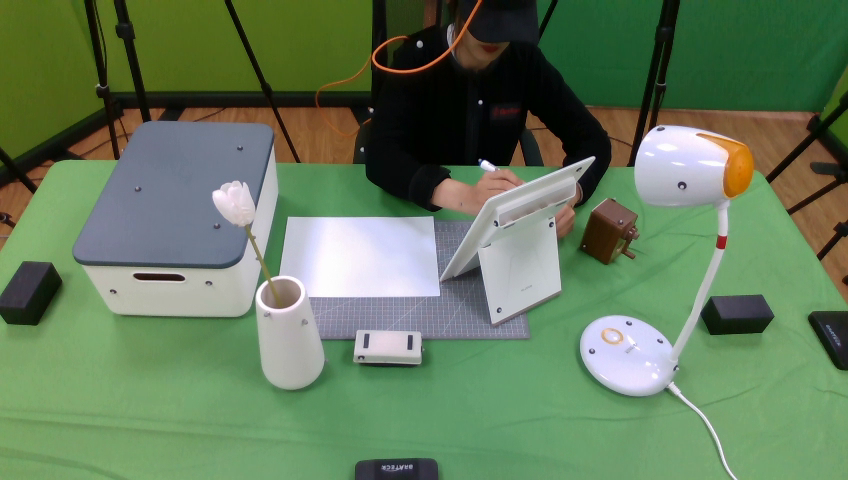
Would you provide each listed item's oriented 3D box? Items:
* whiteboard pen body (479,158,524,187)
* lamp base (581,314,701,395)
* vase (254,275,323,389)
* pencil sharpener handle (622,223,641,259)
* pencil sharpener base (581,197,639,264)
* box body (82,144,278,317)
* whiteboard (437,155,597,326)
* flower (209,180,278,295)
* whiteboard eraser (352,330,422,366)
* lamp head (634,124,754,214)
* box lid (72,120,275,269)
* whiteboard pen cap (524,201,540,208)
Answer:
[{"bbox_3d":[0.151,-0.106,1.058,0.017,0.017,0.140,-34,56,-31],"label":"whiteboard pen body"},{"bbox_3d":[0.361,0.145,0.973,0.178,0.181,0.160,34,53,23],"label":"lamp base"},{"bbox_3d":[-0.209,0.143,0.921,0.098,0.201,0.097,1,46,-1],"label":"vase"},{"bbox_3d":[0.397,0.003,1.146,0.030,0.068,0.036,37,45,27],"label":"pencil sharpener handle"},{"bbox_3d":[0.362,-0.017,1.179,0.076,0.107,0.061,37,54,27],"label":"pencil sharpener base"},{"bbox_3d":[-0.421,-0.041,1.108,0.254,0.161,0.361,2,46,-3],"label":"box body"},{"bbox_3d":[0.180,0.024,1.029,0.217,0.306,0.143,-22,71,-23],"label":"whiteboard"},{"bbox_3d":[-0.216,0.075,0.871,0.044,0.363,0.038,-29,36,-19],"label":"flower"},{"bbox_3d":[-0.060,0.180,1.005,0.113,0.042,0.055,3,48,-2],"label":"whiteboard eraser"},{"bbox_3d":[0.351,-0.089,0.776,0.112,0.113,0.122,-30,30,-28],"label":"lamp head"},{"bbox_3d":[-0.417,-0.094,1.056,0.263,0.015,0.369,1,47,-3],"label":"box lid"},{"bbox_3d":[0.229,-0.075,1.288,0.033,0.018,0.018,-3,46,8],"label":"whiteboard pen cap"}]
